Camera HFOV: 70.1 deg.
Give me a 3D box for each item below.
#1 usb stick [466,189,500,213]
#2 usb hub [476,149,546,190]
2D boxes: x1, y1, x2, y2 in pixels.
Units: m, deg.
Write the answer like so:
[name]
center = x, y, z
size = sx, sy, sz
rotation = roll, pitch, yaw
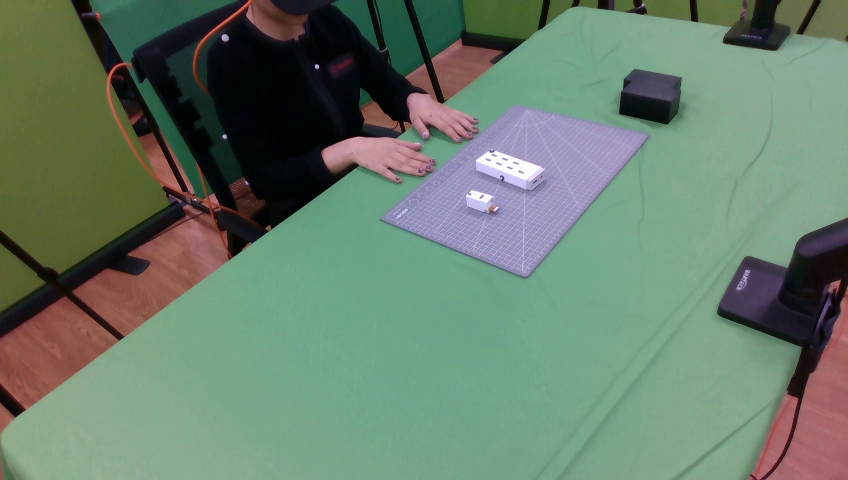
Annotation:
[usb stick]
center = 0.102, -0.064, 1.031
size = 0.059, 0.027, 0.021
rotation = 24, 49, 30
[usb hub]
center = 0.157, -0.129, 1.098
size = 0.124, 0.025, 0.049
rotation = 28, 52, 35
